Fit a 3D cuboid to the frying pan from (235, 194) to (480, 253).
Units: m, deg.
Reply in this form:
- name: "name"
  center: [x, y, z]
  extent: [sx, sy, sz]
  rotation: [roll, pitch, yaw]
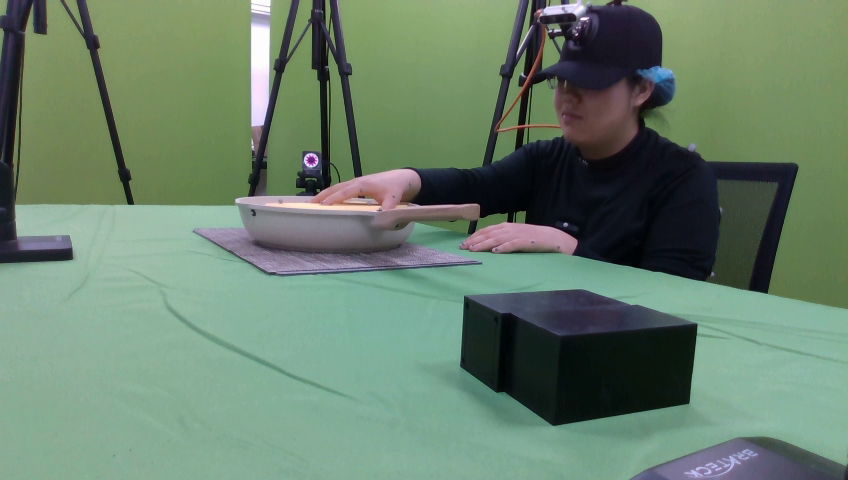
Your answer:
- name: "frying pan"
  center: [-0.089, -0.034, 0.891]
  extent: [0.308, 0.102, 0.485]
  rotation: [-4, 2, -36]

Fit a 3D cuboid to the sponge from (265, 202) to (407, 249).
- name: "sponge"
  center: [-0.134, -0.028, 0.963]
  extent: [0.117, 0.061, 0.208]
  rotation: [6, 7, 36]
